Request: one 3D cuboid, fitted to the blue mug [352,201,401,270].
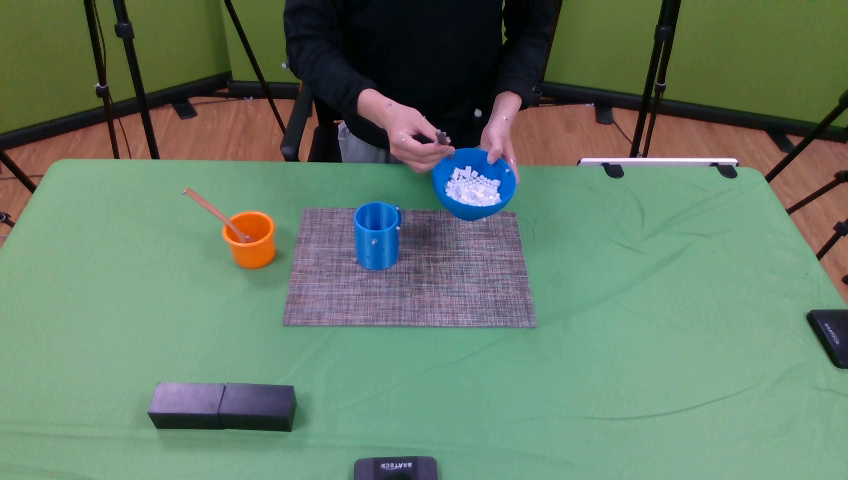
[{"bbox_3d":[-0.082,-0.017,1.144,0.082,0.106,0.116,30,51,22],"label":"blue mug"}]

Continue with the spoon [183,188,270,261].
[{"bbox_3d":[-0.360,-0.029,1.110,0.021,0.194,0.041,-21,30,41],"label":"spoon"}]

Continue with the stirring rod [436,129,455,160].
[{"bbox_3d":[0.035,-0.150,0.971,0.014,0.176,0.006,5,85,8],"label":"stirring rod"}]

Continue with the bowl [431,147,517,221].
[{"bbox_3d":[0.082,-0.087,1.080,0.151,0.077,0.150,4,49,-4],"label":"bowl"}]
